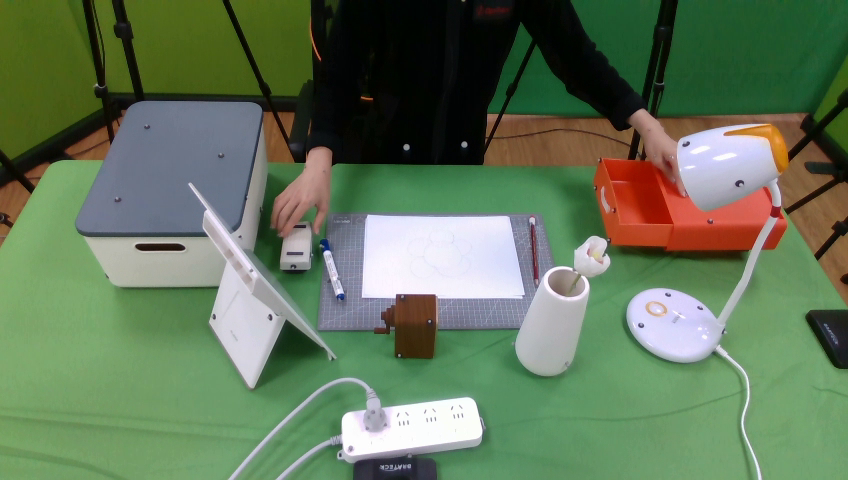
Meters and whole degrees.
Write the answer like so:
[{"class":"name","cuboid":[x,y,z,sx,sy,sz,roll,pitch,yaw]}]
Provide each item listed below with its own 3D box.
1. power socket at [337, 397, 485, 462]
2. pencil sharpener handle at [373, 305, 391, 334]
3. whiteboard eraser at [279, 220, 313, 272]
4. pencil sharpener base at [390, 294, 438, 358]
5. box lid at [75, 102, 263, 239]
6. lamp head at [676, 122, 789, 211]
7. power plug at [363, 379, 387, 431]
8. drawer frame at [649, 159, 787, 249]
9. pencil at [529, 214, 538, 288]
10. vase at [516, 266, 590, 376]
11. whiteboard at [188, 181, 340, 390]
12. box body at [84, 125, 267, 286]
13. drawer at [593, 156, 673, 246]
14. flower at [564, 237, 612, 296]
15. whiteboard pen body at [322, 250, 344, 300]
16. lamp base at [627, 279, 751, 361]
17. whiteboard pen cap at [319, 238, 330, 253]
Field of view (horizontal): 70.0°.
[{"class":"power socket","cuboid":[-0.018,0.285,0.915,0.227,0.033,0.071,-5,46,-8]},{"class":"pencil sharpener handle","cuboid":[-0.069,0.133,0.989,0.030,0.068,0.036,1,47,-2]},{"class":"whiteboard eraser","cuboid":[-0.243,0.012,1.154,0.055,0.042,0.112,-1,46,-3]},{"class":"pencil sharpener base","cuboid":[-0.018,0.143,1.000,0.077,0.107,0.061,1,46,-2]},{"class":"box lid","cuboid":[-0.443,-0.138,1.094,0.263,0.015,0.369,-1,47,-5]},{"class":"lamp head","cuboid":[0.423,-0.104,0.819,0.122,0.113,0.112,-13,33,40]},{"class":"power plug","cuboid":[-0.072,0.252,0.910,0.035,0.053,0.072,3,45,-1]},{"class":"drawer frame","cuboid":[0.566,-0.075,1.209,0.213,0.083,0.200,0,45,2]},{"class":"pencil","cuboid":[0.218,0.019,1.202,0.012,0.012,0.193,5,48,1]},{"class":"vase","cuboid":[0.208,0.132,0.964,0.098,0.201,0.097,3,46,-3]},{"class":"whiteboard","cuboid":[-0.292,0.096,0.929,0.144,0.307,0.216,-38,57,-10]},{"class":"box body","cuboid":[-0.446,-0.088,1.150,0.254,0.161,0.361,-1,46,-5]},{"class":"drawer","cuboid":[0.460,-0.077,1.207,0.212,0.073,0.193,3,46,-2]},{"class":"flower","cuboid":[0.206,0.088,0.893,0.038,0.363,0.044,-16,67,-9]},{"class":"whiteboard pen body","cuboid":[-0.173,0.056,1.127,0.017,0.017,0.140,-12,49,-16]},{"class":"lamp base","cuboid":[0.459,0.100,1.027,0.178,0.181,0.160,27,51,17]},{"class":"whiteboard pen cap","cuboid":[-0.191,0.013,1.163,0.018,0.018,0.033,-12,50,-15]}]
